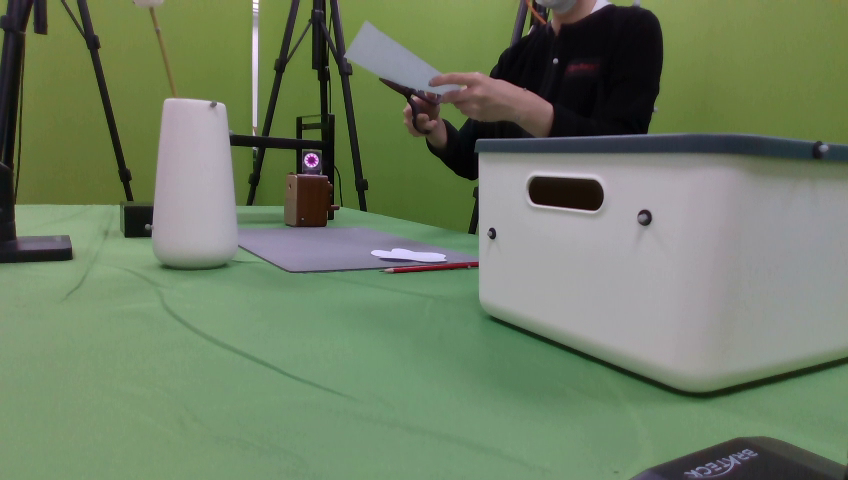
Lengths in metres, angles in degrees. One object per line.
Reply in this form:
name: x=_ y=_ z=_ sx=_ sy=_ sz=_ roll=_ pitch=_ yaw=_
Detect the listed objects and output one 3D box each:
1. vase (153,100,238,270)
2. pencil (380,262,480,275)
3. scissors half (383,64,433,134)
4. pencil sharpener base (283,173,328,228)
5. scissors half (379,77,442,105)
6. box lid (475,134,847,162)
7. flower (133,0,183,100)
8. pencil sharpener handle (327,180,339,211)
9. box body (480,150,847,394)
vase: x=-0.278 y=-0.066 z=0.736 sx=0.098 sy=0.200 sz=0.098 roll=2 pitch=9 yaw=0
pencil: x=0.030 y=0.037 z=0.794 sx=0.195 sy=0.012 sz=0.012 roll=-3 pitch=9 yaw=-30
scissors half: x=-0.029 y=-0.246 z=1.069 sx=0.012 sy=0.040 sz=0.176 roll=14 pitch=-25 yaw=37
pencil sharpener base: x=-0.239 y=-0.081 z=1.231 sx=0.077 sy=0.107 sz=0.061 roll=-2 pitch=8 yaw=-36
scissors half: x=-0.022 y=-0.269 z=1.072 sx=0.013 sy=0.040 sz=0.176 roll=8 pitch=7 yaw=37
box lid: x=0.256 y=-0.073 z=0.528 sx=0.373 sy=0.015 sz=0.262 roll=-2 pitch=8 yaw=-31
flower: x=-0.282 y=-0.147 z=0.713 sx=0.038 sy=0.362 sz=0.044 roll=-23 pitch=24 yaw=-31
pencil sharpener handle: x=-0.194 y=-0.094 z=1.256 sx=0.031 sy=0.067 sz=0.036 roll=-2 pitch=-5 yaw=-36
box body: x=0.254 y=0.002 z=0.539 sx=0.366 sy=0.160 sz=0.253 roll=-2 pitch=8 yaw=-31
